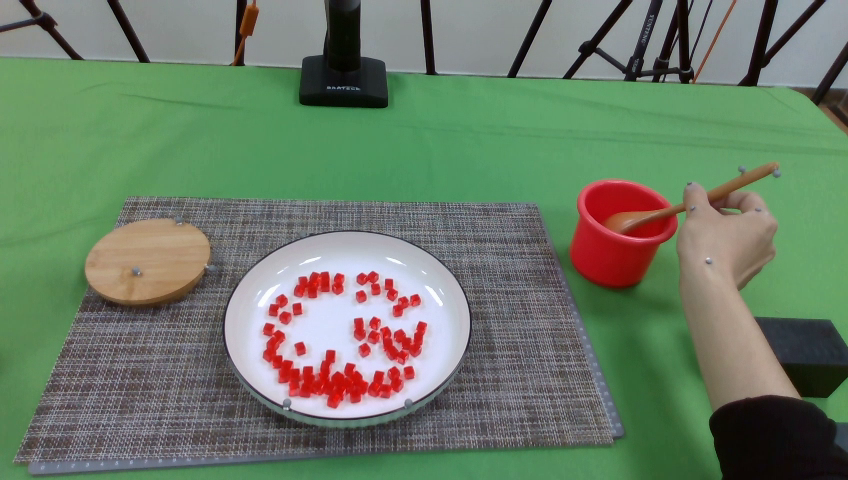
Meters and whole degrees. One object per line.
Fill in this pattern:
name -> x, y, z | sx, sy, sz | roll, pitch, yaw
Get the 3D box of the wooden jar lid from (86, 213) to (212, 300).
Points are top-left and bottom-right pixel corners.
wooden jar lid -> -0.255, 0.016, 0.568 | 0.108, 0.021, 0.107 | 5, 42, -4

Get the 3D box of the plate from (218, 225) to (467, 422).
plate -> -0.067, 0.069, 0.526 | 0.208, 0.039, 0.205 | 4, 44, -4

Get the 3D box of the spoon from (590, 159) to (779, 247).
spoon -> 0.243, -0.035, 0.589 | 0.022, 0.193, 0.041 | 49, 42, -21
